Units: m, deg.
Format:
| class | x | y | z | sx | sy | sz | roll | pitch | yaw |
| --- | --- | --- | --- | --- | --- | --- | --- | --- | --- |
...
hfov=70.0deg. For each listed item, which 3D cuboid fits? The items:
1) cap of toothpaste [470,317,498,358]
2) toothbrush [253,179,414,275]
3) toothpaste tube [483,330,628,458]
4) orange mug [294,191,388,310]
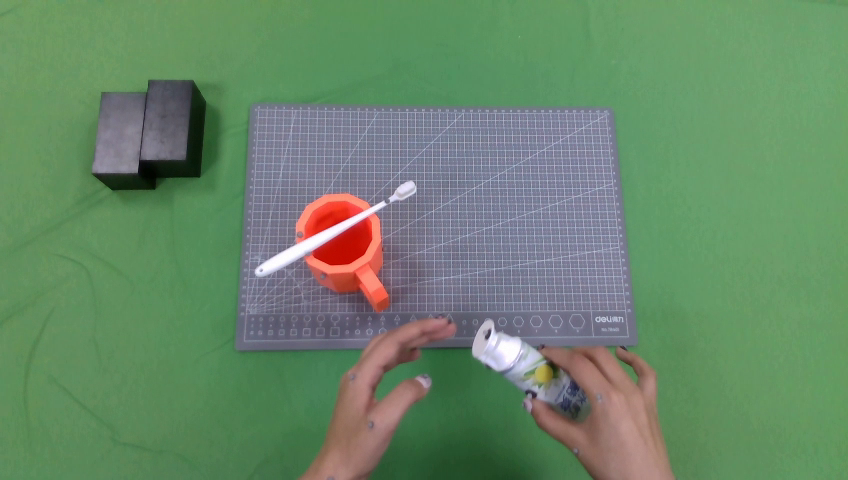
| class | x | y | z | sx | sy | sz | roll | pitch | yaw |
| --- | --- | --- | --- | --- | --- | --- | --- | --- | --- |
| cap of toothpaste | 0.053 | 0.084 | 0.519 | 0.011 | 0.037 | 0.037 | 24 | 74 | -11 |
| toothbrush | -0.088 | -0.014 | 0.602 | 0.182 | 0.017 | 0.014 | -30 | 84 | -10 |
| toothpaste tube | 0.115 | 0.133 | 0.542 | 0.166 | 0.034 | 0.055 | 37 | 82 | -16 |
| orange mug | -0.080 | 0.017 | 0.648 | 0.083 | 0.101 | 0.125 | -34 | 74 | -11 |
